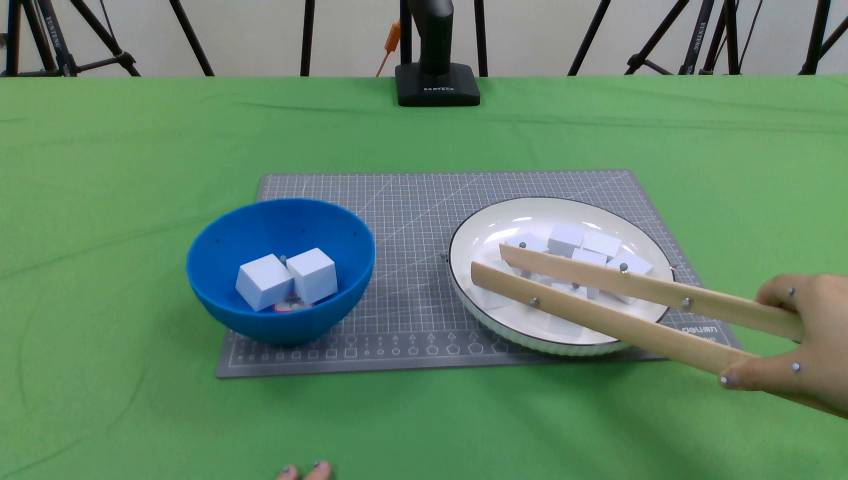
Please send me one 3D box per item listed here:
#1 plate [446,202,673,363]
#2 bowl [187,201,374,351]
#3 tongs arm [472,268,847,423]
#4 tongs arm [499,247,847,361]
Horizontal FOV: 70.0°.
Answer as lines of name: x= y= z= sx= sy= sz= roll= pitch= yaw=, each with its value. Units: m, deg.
plate: x=0.123 y=0.038 z=0.570 sx=0.208 sy=0.039 sz=0.205 roll=2 pitch=39 yaw=-1
bowl: x=-0.116 y=0.041 z=0.518 sx=0.151 sy=0.077 sz=0.150 roll=2 pitch=39 yaw=-1
tongs arm: x=0.190 y=0.074 z=0.413 sx=0.384 sy=0.028 sz=0.028 roll=15 pitch=33 yaw=38
tongs arm: x=0.208 y=0.062 z=0.430 sx=0.382 sy=0.027 sz=0.051 roll=13 pitch=35 yaw=35
